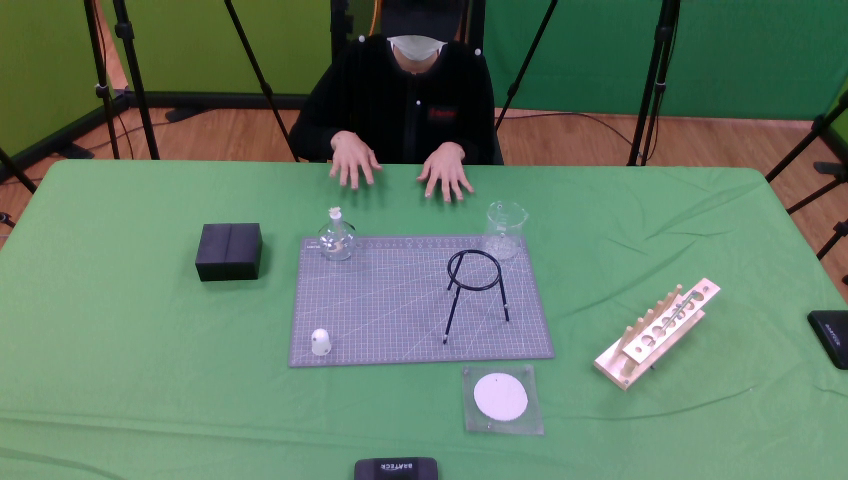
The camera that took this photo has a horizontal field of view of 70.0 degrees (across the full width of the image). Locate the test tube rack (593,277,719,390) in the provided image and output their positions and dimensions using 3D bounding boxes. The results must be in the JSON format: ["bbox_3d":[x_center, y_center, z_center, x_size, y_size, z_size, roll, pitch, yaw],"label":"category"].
[{"bbox_3d":[0.401,0.148,1.043,0.242,0.085,0.066,-30,55,-29],"label":"test tube rack"}]

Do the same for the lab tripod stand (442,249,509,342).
[{"bbox_3d":[0.082,0.090,1.036,0.148,0.132,0.147,3,44,-3],"label":"lab tripod stand"}]

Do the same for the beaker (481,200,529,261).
[{"bbox_3d":[0.153,-0.016,1.169,0.084,0.101,0.073,-2,46,-7],"label":"beaker"}]

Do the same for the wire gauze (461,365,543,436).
[{"bbox_3d":[0.124,0.254,0.973,0.125,0.011,0.120,3,47,-3],"label":"wire gauze"}]

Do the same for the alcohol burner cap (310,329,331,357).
[{"bbox_3d":[-0.173,0.168,1.004,0.034,0.048,0.033,2,46,-2],"label":"alcohol burner cap"}]

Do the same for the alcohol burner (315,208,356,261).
[{"bbox_3d":[-0.166,-0.017,1.134,0.078,0.119,0.077,2,48,-2],"label":"alcohol burner"}]

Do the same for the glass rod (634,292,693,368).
[{"bbox_3d":[0.370,0.146,0.950,0.008,0.200,0.008,8,44,-8],"label":"glass rod"}]
